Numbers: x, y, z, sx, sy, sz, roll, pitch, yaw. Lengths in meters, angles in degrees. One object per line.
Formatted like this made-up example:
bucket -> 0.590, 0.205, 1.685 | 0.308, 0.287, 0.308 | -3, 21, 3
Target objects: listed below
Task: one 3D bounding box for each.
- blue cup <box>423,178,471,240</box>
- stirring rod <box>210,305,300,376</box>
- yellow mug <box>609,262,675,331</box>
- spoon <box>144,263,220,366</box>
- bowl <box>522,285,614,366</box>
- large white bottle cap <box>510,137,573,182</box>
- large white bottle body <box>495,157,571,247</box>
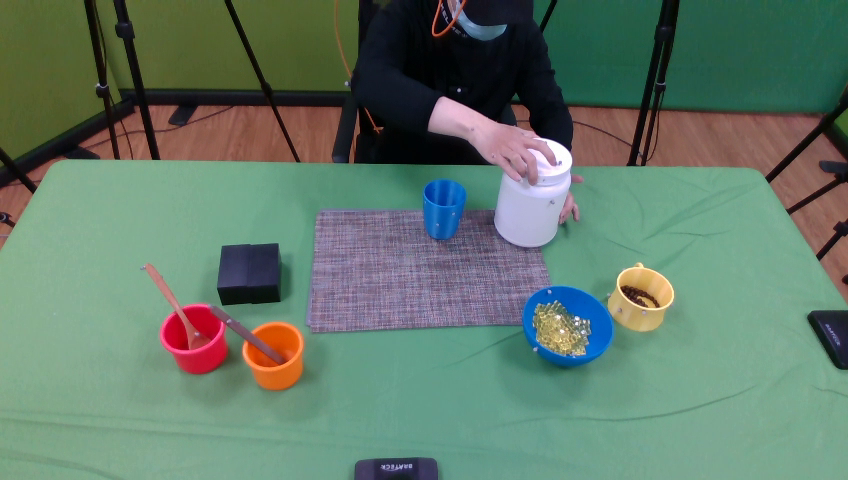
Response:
blue cup -> 0.036, -0.056, 1.192 | 0.093, 0.101, 0.092 | 3, 45, -3
stirring rod -> -0.262, 0.158, 0.946 | 0.177, 0.006, 0.014 | 44, 43, -21
yellow mug -> 0.393, 0.094, 1.103 | 0.100, 0.064, 0.130 | 7, 45, 4
spoon -> -0.389, 0.118, 0.971 | 0.041, 0.021, 0.194 | -34, 101, -34
bowl -> 0.235, 0.158, 1.022 | 0.151, 0.077, 0.150 | 2, 46, -2
large white bottle cap -> 0.217, -0.150, 1.120 | 0.115, 0.018, 0.114 | 2, 46, -2
large white bottle body -> 0.213, -0.091, 1.182 | 0.131, 0.185, 0.130 | 2, 46, -2
